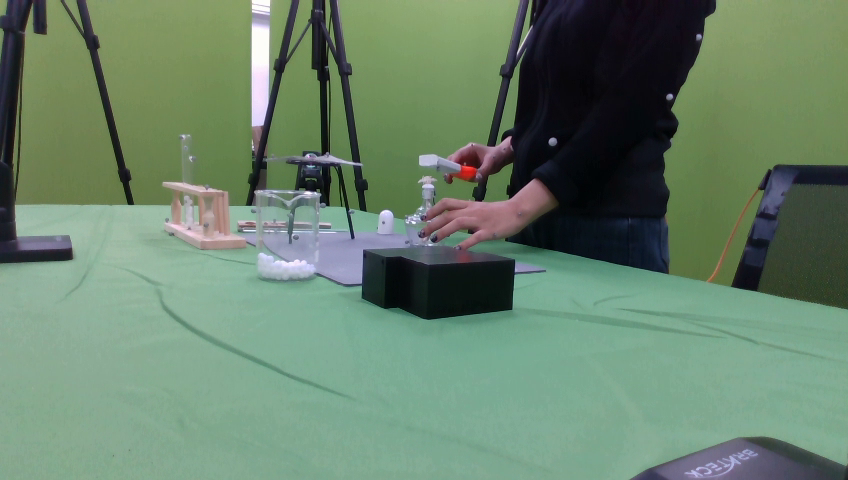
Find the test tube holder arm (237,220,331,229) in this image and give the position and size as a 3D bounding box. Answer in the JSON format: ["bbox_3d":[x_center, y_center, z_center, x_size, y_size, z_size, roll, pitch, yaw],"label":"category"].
[{"bbox_3d":[-0.260,-0.028,1.141,0.179,0.015,0.013,-1,42,-33],"label":"test tube holder arm"}]

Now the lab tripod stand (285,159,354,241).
[{"bbox_3d":[-0.187,-0.068,1.013,0.148,0.131,0.148,4,9,0],"label":"lab tripod stand"}]

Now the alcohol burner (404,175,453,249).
[{"bbox_3d":[0.007,-0.045,0.971,0.078,0.119,0.078,1,9,0],"label":"alcohol burner"}]

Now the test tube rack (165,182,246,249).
[{"bbox_3d":[-0.360,-0.045,0.982,0.067,0.085,0.241,-3,9,-34],"label":"test tube rack"}]

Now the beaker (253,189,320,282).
[{"bbox_3d":[-0.156,-0.005,0.689,0.074,0.100,0.083,0,8,-14],"label":"beaker"}]

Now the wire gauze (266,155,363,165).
[{"bbox_3d":[-0.185,-0.136,1.016,0.126,0.011,0.121,-4,11,-33],"label":"wire gauze"}]

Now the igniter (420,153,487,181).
[{"bbox_3d":[0.060,-0.131,1.098,0.057,0.025,0.277,0,0,22],"label":"igniter"}]

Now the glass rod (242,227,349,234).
[{"bbox_3d":[-0.232,-0.017,1.110,0.201,0.008,0.008,2,6,-30],"label":"glass rod"}]

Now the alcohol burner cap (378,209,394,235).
[{"bbox_3d":[-0.072,-0.035,1.145,0.034,0.048,0.034,2,7,0],"label":"alcohol burner cap"}]

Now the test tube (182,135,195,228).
[{"bbox_3d":[-0.382,-0.095,0.983,0.017,0.150,0.017,-1,2,0],"label":"test tube"}]

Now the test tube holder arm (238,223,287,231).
[{"bbox_3d":[-0.296,-0.024,1.113,0.088,0.015,0.010,-1,42,-32],"label":"test tube holder arm"}]
